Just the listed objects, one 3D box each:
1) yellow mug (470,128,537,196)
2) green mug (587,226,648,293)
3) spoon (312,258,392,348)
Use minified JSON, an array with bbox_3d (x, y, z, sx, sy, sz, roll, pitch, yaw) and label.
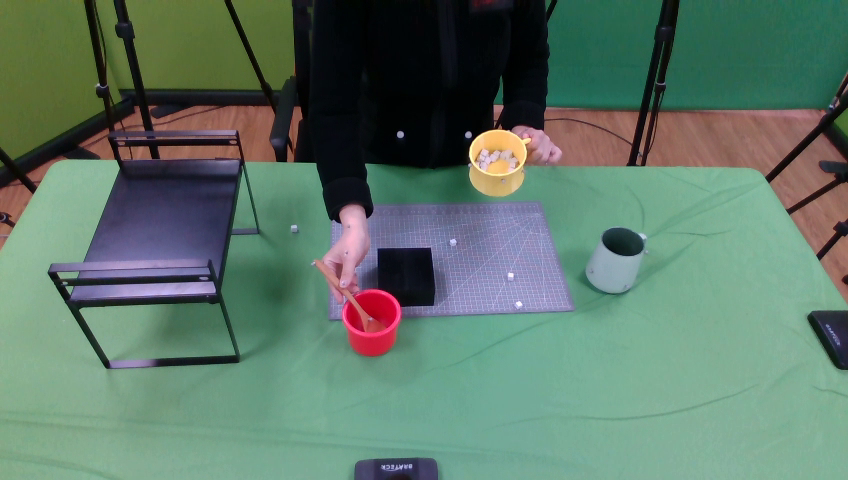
[{"bbox_3d":[0.144,-0.144,1.069,0.131,0.064,0.099,-28,63,-12],"label":"yellow mug"},{"bbox_3d":[0.372,0.030,1.136,0.125,0.105,0.092,-27,53,-26],"label":"green mug"},{"bbox_3d":[-0.119,0.103,1.005,0.194,0.021,0.041,54,51,-14],"label":"spoon"}]
